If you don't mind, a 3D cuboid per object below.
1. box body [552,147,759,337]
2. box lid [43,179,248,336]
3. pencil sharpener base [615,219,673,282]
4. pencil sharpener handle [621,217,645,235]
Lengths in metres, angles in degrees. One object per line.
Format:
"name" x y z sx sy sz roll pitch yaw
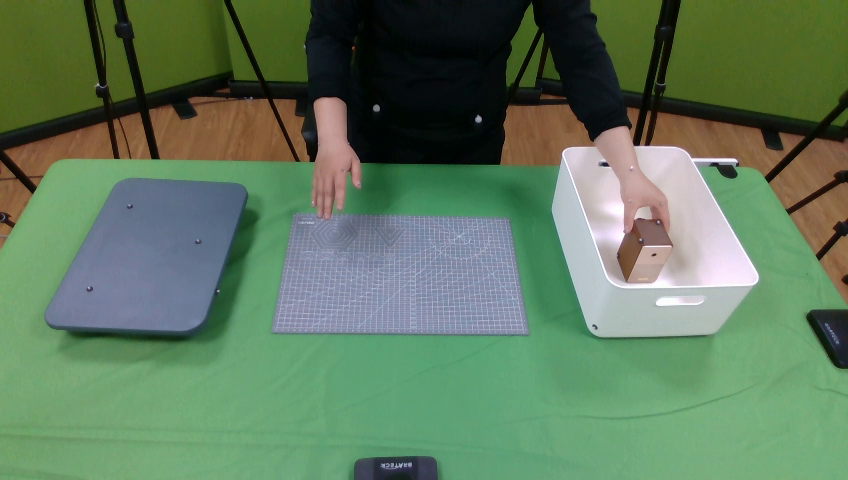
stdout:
"box body" 0.401 -0.001 1.131 0.254 0.161 0.361 -1 46 -5
"box lid" -0.484 0.017 1.093 0.263 0.015 0.369 2 46 -2
"pencil sharpener base" 0.410 0.019 1.141 0.061 0.107 0.076 0 47 -5
"pencil sharpener handle" 0.403 -0.027 1.166 0.036 0.068 0.030 12 45 -17
